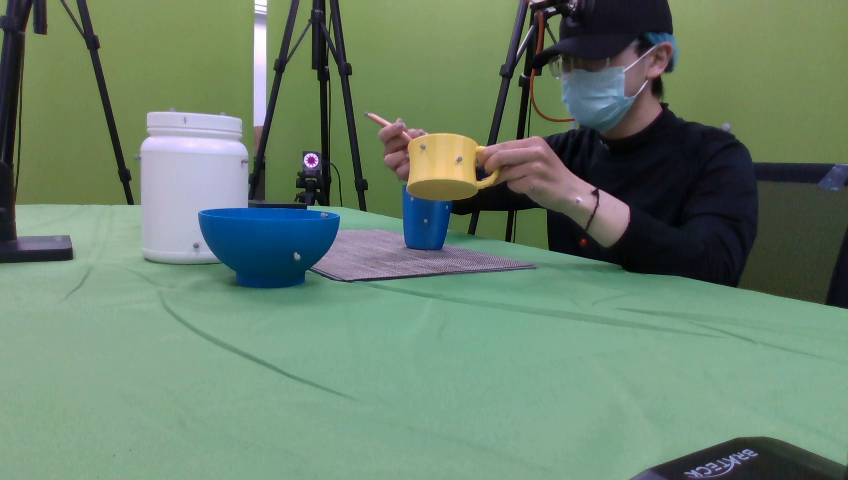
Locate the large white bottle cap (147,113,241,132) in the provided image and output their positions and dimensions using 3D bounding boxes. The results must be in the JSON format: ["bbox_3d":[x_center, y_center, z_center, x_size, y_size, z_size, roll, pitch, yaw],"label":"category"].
[{"bbox_3d":[-0.297,-0.151,0.786,0.115,0.018,0.115,2,7,0],"label":"large white bottle cap"}]

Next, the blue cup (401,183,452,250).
[{"bbox_3d":[0.003,-0.038,0.966,0.093,0.100,0.092,4,8,0],"label":"blue cup"}]

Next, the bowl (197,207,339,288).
[{"bbox_3d":[-0.171,0.008,0.671,0.151,0.077,0.151,2,7,0],"label":"bowl"}]

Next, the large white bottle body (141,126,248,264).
[{"bbox_3d":[-0.300,-0.068,0.797,0.131,0.184,0.130,2,7,0],"label":"large white bottle body"}]

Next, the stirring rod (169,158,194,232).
[{"bbox_3d":[-0.424,-0.082,1.060,0.014,0.006,0.175,2,50,-10],"label":"stirring rod"}]

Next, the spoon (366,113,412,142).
[{"bbox_3d":[-0.023,-0.143,0.877,0.042,0.021,0.193,-9,42,-45],"label":"spoon"}]

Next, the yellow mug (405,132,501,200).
[{"bbox_3d":[0.040,-0.100,0.831,0.130,0.064,0.100,0,-12,13],"label":"yellow mug"}]
